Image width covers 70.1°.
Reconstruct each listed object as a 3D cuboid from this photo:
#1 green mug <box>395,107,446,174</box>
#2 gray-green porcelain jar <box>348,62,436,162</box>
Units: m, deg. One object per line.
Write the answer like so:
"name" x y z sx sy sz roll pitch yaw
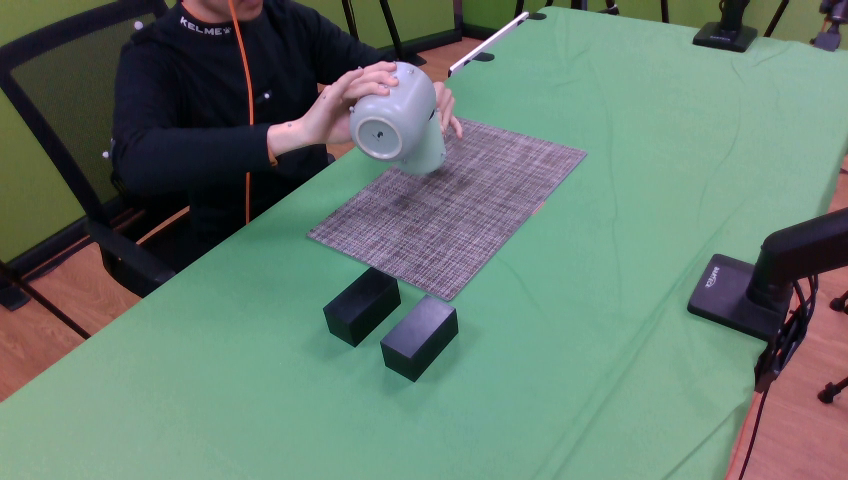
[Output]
"green mug" -0.009 -0.186 1.037 0.092 0.105 0.125 3 49 14
"gray-green porcelain jar" -0.049 -0.187 0.898 0.105 0.106 0.126 6 47 16
